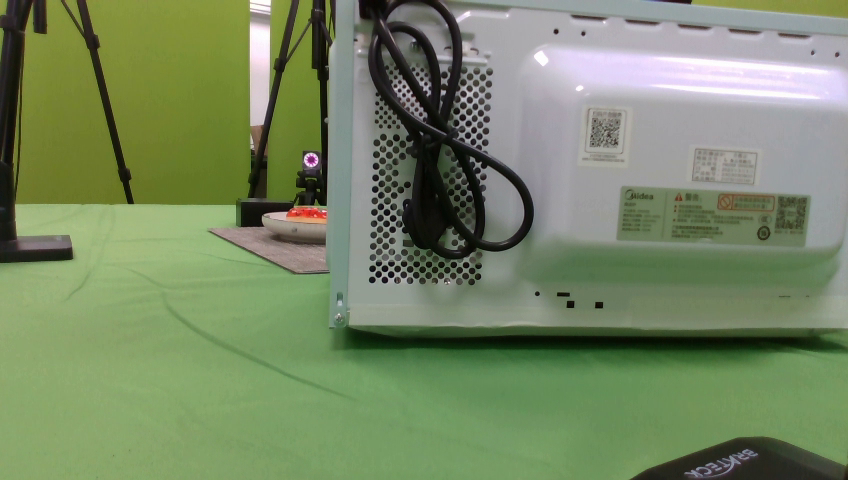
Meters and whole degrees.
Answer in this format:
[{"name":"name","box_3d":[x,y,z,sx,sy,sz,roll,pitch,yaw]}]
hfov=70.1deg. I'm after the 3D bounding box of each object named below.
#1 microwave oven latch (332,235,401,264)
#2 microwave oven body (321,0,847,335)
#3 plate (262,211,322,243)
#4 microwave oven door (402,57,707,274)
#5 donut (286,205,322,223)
[{"name":"microwave oven latch","box_3d":[-0.066,0.010,0.700,0.079,0.029,0.030,2,6,-8]},{"name":"microwave oven body","box_3d":[0.133,-0.062,0.568,0.443,0.260,0.325,2,6,-8]},{"name":"plate","box_3d":[-0.170,-0.023,1.036,0.209,0.038,0.209,2,7,0]},{"name":"microwave oven door","box_3d":[0.156,-0.086,0.726,0.356,0.243,0.039,2,7,-5]},{"name":"donut","box_3d":[-0.186,-0.034,1.031,0.099,0.048,0.099,3,5,0]}]
